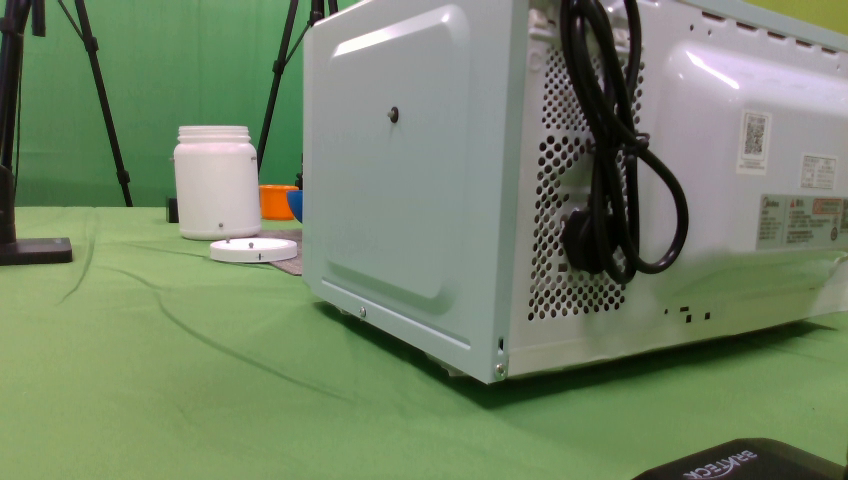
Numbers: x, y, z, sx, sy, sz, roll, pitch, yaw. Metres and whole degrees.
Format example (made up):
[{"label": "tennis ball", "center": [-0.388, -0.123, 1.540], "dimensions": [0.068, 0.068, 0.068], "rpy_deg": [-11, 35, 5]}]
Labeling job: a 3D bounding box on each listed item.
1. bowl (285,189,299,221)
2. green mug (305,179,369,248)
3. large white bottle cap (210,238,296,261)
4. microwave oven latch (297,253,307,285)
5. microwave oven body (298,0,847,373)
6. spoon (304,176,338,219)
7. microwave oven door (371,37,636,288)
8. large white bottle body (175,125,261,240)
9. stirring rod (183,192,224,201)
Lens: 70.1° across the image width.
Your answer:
[{"label": "bowl", "center": [-0.180, -0.050, 1.113], "dimensions": [0.151, 0.077, 0.151], "rpy_deg": [3, 8, 0]}, {"label": "green mug", "center": [-0.133, -0.044, 0.977], "dimensions": [0.092, 0.105, 0.126], "rpy_deg": [6, 8, 32]}, {"label": "large white bottle cap", "center": [-0.236, 0.012, 0.839], "dimensions": [0.115, 0.018, 0.115], "rpy_deg": [1, 7, 0]}, {"label": "microwave oven latch", "center": [-0.082, 0.027, 0.582], "dimensions": [0.079, 0.029, 0.030], "rpy_deg": [-2, 7, -33]}, {"label": "microwave oven body", "center": [0.151, -0.055, 0.542], "dimensions": [0.444, 0.260, 0.324], "rpy_deg": [-1, 7, -33]}, {"label": "spoon", "center": [-0.201, -0.084, 1.146], "dimensions": [0.042, 0.021, 0.193], "rpy_deg": [2, 30, -25]}, {"label": "microwave oven door", "center": [0.109, -0.080, 0.686], "dimensions": [0.358, 0.243, 0.039], "rpy_deg": [-2, 9, -33]}, {"label": "large white bottle body", "center": [-0.349, -0.099, 1.025], "dimensions": [0.131, 0.184, 0.130], "rpy_deg": [-1, 9, 0]}, {"label": "stirring rod", "center": [-0.474, -0.093, 1.293], "dimensions": [0.175, 0.006, 0.014], "rpy_deg": [12, 5, 44]}]
